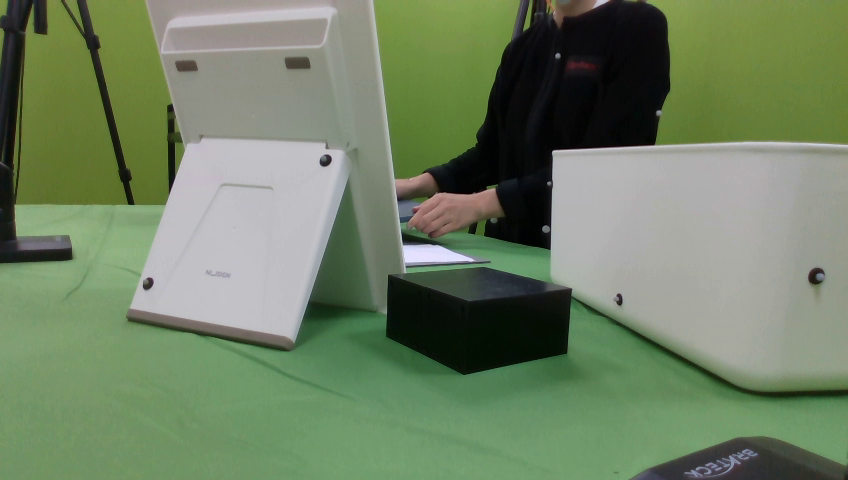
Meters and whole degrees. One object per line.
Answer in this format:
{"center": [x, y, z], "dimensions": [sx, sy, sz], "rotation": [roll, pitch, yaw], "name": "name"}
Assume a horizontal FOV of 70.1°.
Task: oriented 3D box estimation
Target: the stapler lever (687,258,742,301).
{"center": [0.283, 0.035, 0.585], "dimensions": [0.026, 0.040, 0.119], "rotation": [11, 8, 37], "name": "stapler lever"}

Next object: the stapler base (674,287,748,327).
{"center": [0.281, 0.061, 0.586], "dimensions": [0.041, 0.024, 0.131], "rotation": [11, 9, 37], "name": "stapler base"}

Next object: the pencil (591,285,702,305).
{"center": [0.248, 0.057, 0.656], "dimensions": [0.195, 0.012, 0.012], "rotation": [-2, 9, -35], "name": "pencil"}

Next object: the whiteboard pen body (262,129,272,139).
{"center": [-0.361, -0.245, 1.393], "dimensions": [0.017, 0.017, 0.140], "rotation": [0, 5, -20], "name": "whiteboard pen body"}

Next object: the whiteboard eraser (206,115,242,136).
{"center": [-0.438, -0.249, 1.320], "dimensions": [0.056, 0.042, 0.112], "rotation": [-3, 9, -30], "name": "whiteboard eraser"}

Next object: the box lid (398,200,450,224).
{"center": [-0.167, -0.038, 1.089], "dimensions": [0.373, 0.015, 0.262], "rotation": [-9, 12, -27], "name": "box lid"}

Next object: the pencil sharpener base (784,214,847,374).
{"center": [0.322, 0.038, 0.442], "dimensions": [0.077, 0.107, 0.061], "rotation": [1, 8, -17], "name": "pencil sharpener base"}

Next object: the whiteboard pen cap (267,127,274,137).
{"center": [-0.340, -0.239, 1.337], "dimensions": [0.018, 0.018, 0.033], "rotation": [1, -1, -15], "name": "whiteboard pen cap"}

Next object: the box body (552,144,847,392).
{"center": [0.290, 0.002, 0.549], "dimensions": [0.255, 0.160, 0.363], "rotation": [2, 7, -10], "name": "box body"}

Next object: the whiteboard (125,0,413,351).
{"center": [-0.151, -0.050, 0.471], "dimensions": [0.216, 0.305, 0.144], "rotation": [6, 27, 24], "name": "whiteboard"}
